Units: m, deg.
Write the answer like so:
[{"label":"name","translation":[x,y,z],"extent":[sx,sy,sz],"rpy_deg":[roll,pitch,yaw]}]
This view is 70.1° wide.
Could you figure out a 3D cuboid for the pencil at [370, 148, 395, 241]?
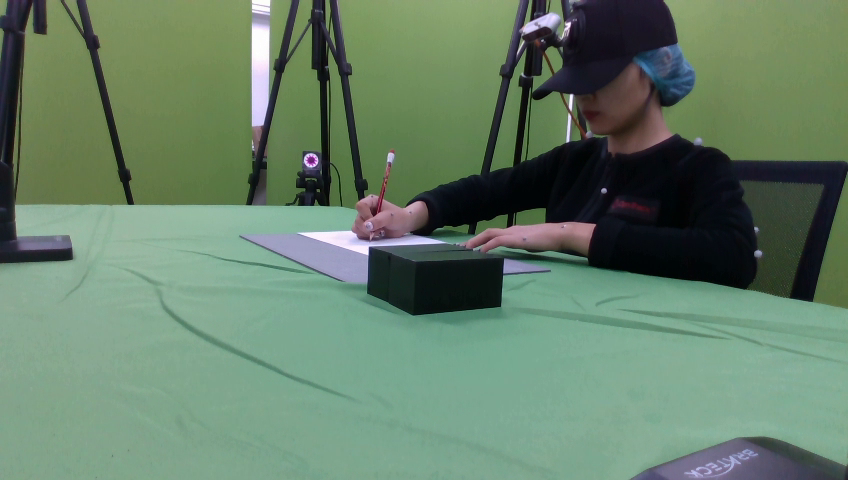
[{"label":"pencil","translation":[-0.072,-0.082,1.047],"extent":[0.012,0.194,0.012],"rpy_deg":[8,-29,5]}]
